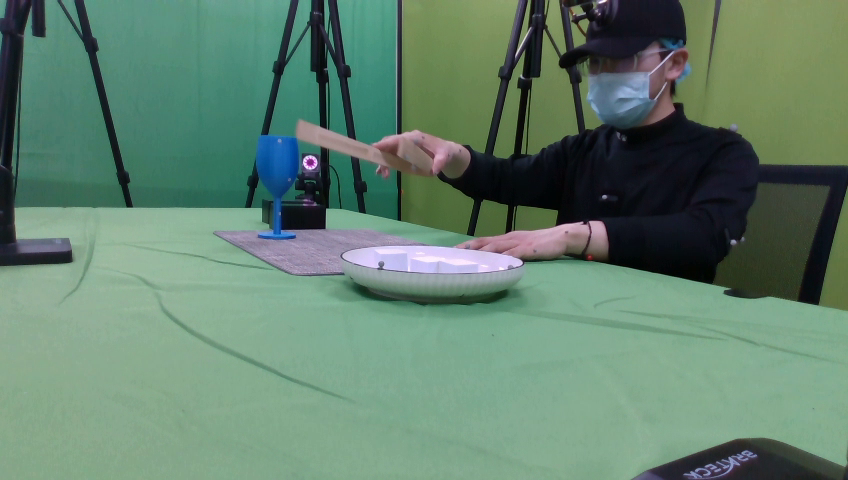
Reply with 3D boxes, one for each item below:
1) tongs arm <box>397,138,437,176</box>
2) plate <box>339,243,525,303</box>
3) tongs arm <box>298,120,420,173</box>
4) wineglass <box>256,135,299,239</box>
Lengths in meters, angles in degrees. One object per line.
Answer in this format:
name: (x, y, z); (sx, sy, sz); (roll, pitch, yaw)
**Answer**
tongs arm: (-0.016, -0.123, 0.922); (0.051, 0.026, 0.385); (10, 4, 9)
plate: (0.008, 0.035, 0.682); (0.209, 0.038, 0.209); (3, 7, 0)
tongs arm: (-0.086, -0.138, 0.937); (0.028, 0.028, 0.389); (7, 3, 20)
wineglass: (-0.252, -0.091, 1.035); (0.074, 0.172, 0.073); (2, 7, 0)
